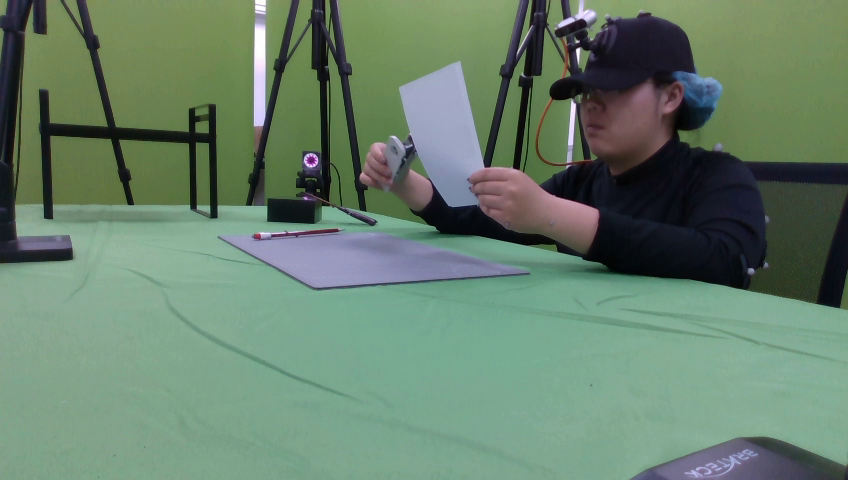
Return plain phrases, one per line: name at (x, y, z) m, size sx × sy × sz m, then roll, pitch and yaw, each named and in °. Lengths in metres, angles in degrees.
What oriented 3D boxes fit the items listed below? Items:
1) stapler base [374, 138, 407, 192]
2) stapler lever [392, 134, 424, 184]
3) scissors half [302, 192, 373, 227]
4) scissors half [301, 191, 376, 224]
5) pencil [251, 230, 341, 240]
stapler base at (-0.052, -0.130, 1.031) m, size 0.024 × 0.041 × 0.130 m, roll -27°, pitch -13°, yaw -29°
stapler lever at (-0.034, -0.140, 1.044) m, size 0.040 × 0.027 × 0.118 m, roll -27°, pitch -13°, yaw -28°
scissors half at (-0.191, -0.069, 1.314) m, size 0.175 × 0.013 × 0.040 m, roll 26°, pitch 16°, yaw 7°
scissors half at (-0.189, -0.073, 1.333) m, size 0.175 × 0.013 × 0.040 m, roll 22°, pitch 11°, yaw -10°
pencil at (-0.215, -0.011, 1.049) m, size 0.012 × 0.012 × 0.195 m, roll 9°, pitch 9°, yaw 39°
